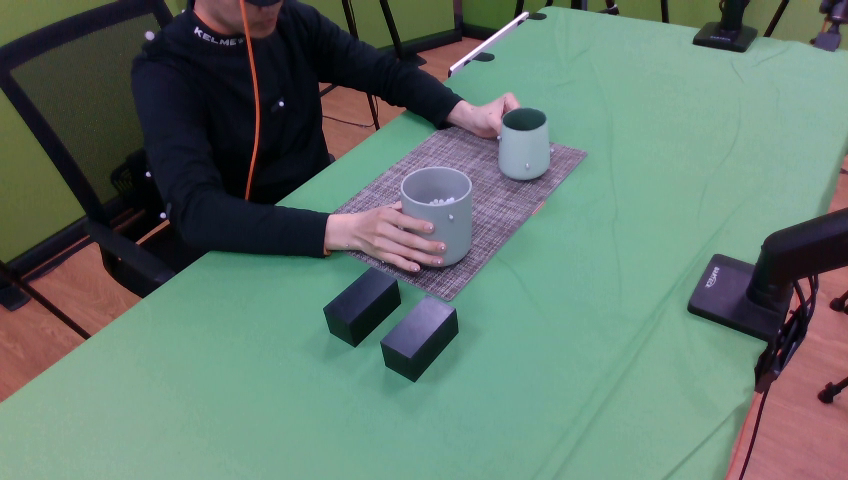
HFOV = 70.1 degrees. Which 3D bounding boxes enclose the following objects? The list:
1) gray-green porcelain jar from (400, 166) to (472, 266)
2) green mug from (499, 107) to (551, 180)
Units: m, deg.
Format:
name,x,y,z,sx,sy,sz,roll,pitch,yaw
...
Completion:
name,x,y,z,sx,sy,sz,roll,pitch,yaw
gray-green porcelain jar,0.020,-0.032,0.912,0.106,0.127,0.105,-1,39,2
green mug,0.172,-0.179,1.076,0.093,0.105,0.124,-17,43,-9
